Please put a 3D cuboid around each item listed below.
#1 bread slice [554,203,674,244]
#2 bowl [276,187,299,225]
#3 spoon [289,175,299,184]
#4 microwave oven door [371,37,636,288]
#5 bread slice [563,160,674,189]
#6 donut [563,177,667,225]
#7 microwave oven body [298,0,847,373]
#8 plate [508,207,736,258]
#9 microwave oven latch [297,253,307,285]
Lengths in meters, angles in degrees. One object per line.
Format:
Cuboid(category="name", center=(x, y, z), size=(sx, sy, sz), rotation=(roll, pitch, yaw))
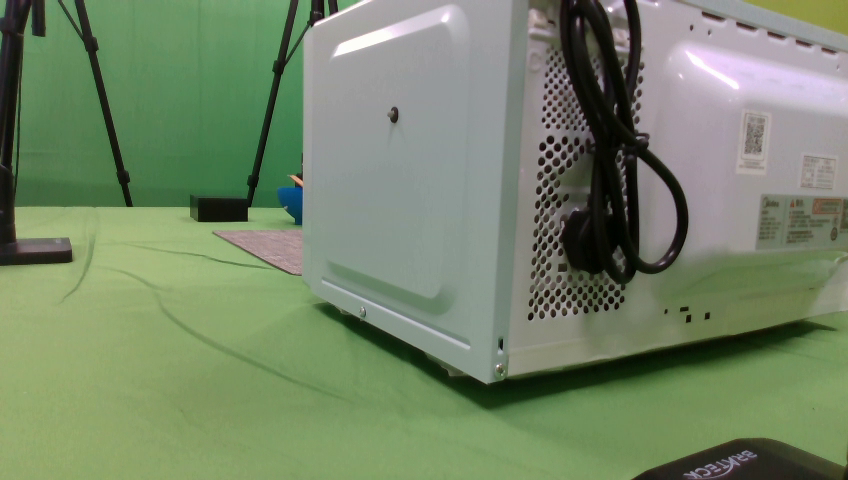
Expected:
Cuboid(category="bread slice", center=(0.183, -0.017, 0.580), size=(0.107, 0.018, 0.134), rotation=(-4, 9, 9))
Cuboid(category="bowl", center=(-0.241, -0.073, 1.302), size=(0.151, 0.077, 0.151), rotation=(2, 7, 0))
Cuboid(category="spoon", center=(-0.261, -0.110, 1.343), size=(0.042, 0.021, 0.192), rotation=(-7, 33, -31))
Cuboid(category="microwave oven door", center=(0.109, -0.080, 0.686), size=(0.358, 0.243, 0.039), rotation=(-2, 9, -33))
Cuboid(category="bread slice", center=(0.186, -0.063, 0.578), size=(0.104, 0.019, 0.132), rotation=(7, 6, 15))
Cuboid(category="donut", center=(0.184, -0.037, 0.587), size=(0.099, 0.048, 0.099), rotation=(-2, 3, 0))
Cuboid(category="microwave oven body", center=(0.151, -0.055, 0.542), size=(0.444, 0.260, 0.324), rotation=(-1, 7, -33))
Cuboid(category="plate", center=(0.186, -0.009, 0.588), size=(0.208, 0.039, 0.207), rotation=(1, 5, 0))
Cuboid(category="microwave oven latch", center=(-0.082, 0.027, 0.582), size=(0.079, 0.029, 0.030), rotation=(-1, 7, -33))
